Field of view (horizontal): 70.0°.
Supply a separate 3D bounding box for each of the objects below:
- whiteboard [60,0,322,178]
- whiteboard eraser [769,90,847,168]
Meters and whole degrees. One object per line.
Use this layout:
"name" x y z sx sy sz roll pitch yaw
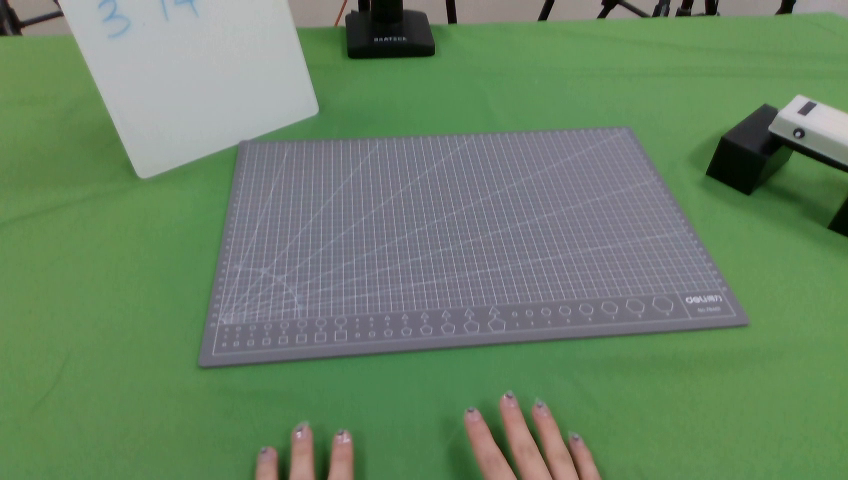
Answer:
"whiteboard" -0.274 -0.260 0.646 0.217 0.308 0.142 -29 33 -27
"whiteboard eraser" 0.403 -0.103 0.592 0.111 0.042 0.055 36 53 29
